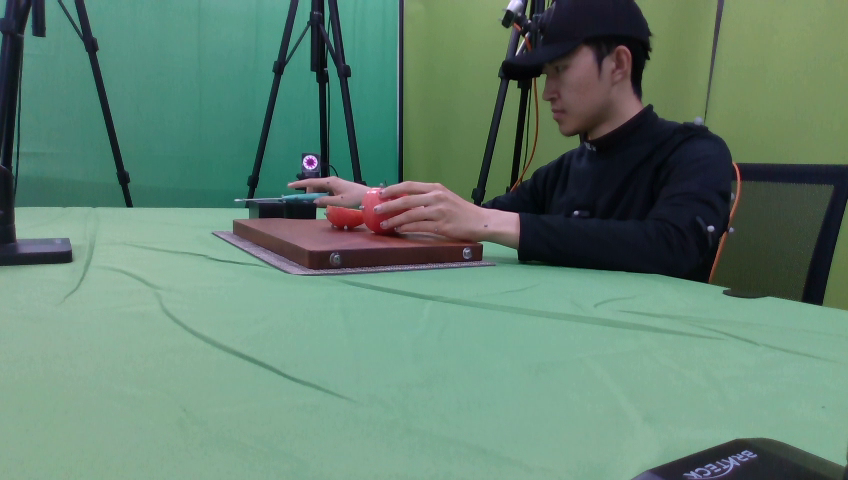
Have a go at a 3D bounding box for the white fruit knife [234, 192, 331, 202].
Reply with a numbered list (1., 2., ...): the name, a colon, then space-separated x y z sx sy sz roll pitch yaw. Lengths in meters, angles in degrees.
1. white fruit knife: -0.295 -0.088 1.281 0.208 0.016 0.027 -6 0 -26

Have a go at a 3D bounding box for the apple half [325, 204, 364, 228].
1. apple half: -0.128 -0.035 0.990 0.081 0.033 0.081 10 -5 1

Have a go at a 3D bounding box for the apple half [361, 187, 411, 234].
1. apple half: -0.052 -0.045 0.937 0.081 0.074 0.053 2 11 -40
